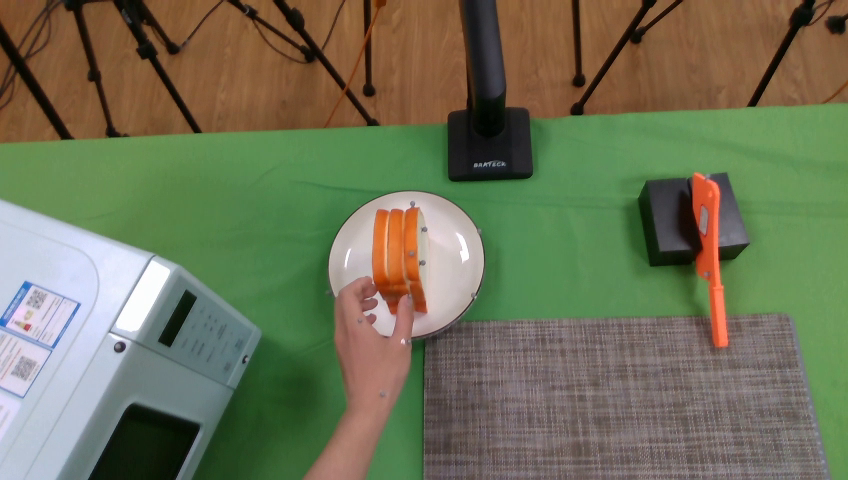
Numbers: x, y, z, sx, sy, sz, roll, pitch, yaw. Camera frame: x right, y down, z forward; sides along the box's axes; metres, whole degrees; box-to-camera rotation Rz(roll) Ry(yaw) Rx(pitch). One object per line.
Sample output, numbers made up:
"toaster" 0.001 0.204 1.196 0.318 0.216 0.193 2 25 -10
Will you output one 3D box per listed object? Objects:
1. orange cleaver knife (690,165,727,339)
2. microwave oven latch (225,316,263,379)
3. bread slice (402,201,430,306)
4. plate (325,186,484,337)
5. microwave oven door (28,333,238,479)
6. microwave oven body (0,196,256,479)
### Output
"orange cleaver knife" 0.345 0.013 0.740 0.012 0.077 0.211 -7 96 2
"microwave oven latch" -0.230 0.131 0.755 0.030 0.030 0.079 19 71 12
"bread slice" -0.008 0.016 0.741 0.018 0.135 0.106 -4 70 5
"plate" -0.024 0.029 0.797 0.207 0.039 0.206 -2 67 4
"microwave oven door" -0.319 0.282 0.590 0.039 0.246 0.354 17 70 13
"microwave oven body" -0.440 0.205 0.639 0.325 0.262 0.439 17 71 12
